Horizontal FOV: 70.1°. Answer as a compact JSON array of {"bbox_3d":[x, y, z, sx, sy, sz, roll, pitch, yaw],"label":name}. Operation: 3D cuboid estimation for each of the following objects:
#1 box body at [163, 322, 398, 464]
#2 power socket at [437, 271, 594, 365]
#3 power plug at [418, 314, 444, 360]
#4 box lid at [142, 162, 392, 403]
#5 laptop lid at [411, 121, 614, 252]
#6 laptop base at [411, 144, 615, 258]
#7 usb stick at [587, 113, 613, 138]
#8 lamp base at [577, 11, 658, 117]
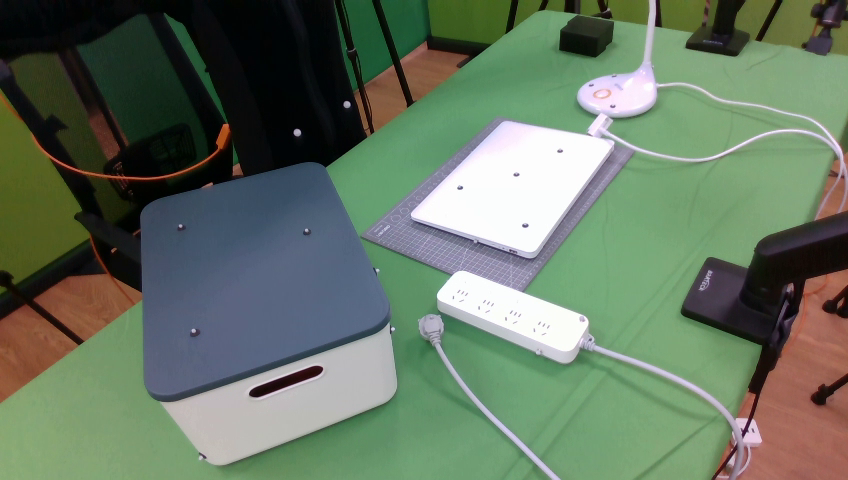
[{"bbox_3d":[-0.204,0.080,0.802,0.255,0.161,0.361,-18,41,-13],"label":"box body"},{"bbox_3d":[0.118,0.103,0.829,0.225,0.033,0.072,20,49,28],"label":"power socket"},{"bbox_3d":[0.009,0.133,0.805,0.035,0.053,0.072,0,57,5],"label":"power plug"},{"bbox_3d":[-0.212,0.024,0.752,0.264,0.015,0.368,-17,41,-13],"label":"box lid"},{"bbox_3d":[0.164,-0.112,1.068,0.240,0.013,0.357,19,46,30],"label":"laptop lid"},{"bbox_3d":[0.167,-0.102,1.074,0.234,0.023,0.355,16,45,30],"label":"laptop base"},{"bbox_3d":[0.329,-0.210,1.149,0.022,0.059,0.027,29,19,-27],"label":"usb stick"},{"bbox_3d":[0.407,-0.365,1.223,0.180,0.181,0.159,-20,42,-18],"label":"lamp base"}]
